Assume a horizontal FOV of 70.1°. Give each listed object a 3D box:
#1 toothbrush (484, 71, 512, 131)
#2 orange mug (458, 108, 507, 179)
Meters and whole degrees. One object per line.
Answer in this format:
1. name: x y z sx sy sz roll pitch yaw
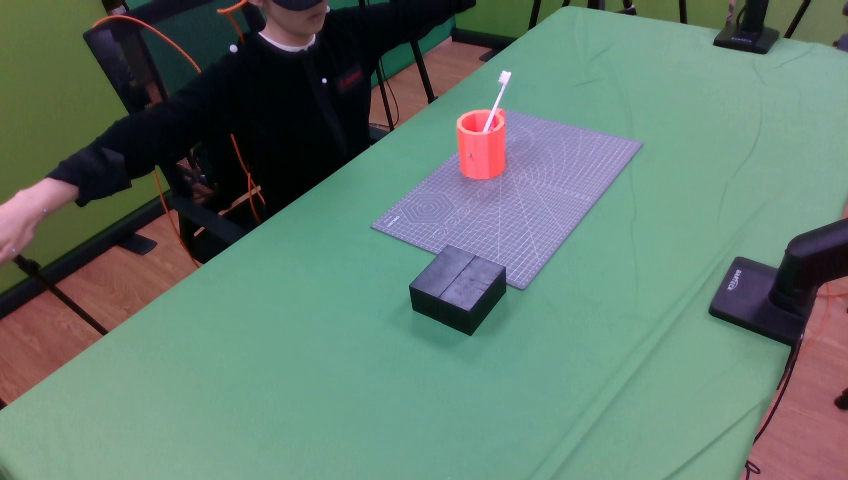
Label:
1. toothbrush: 0.118 -0.216 1.087 0.017 0.182 0.014 17 14 -17
2. orange mug: 0.117 -0.187 1.112 0.083 0.101 0.126 19 51 28
